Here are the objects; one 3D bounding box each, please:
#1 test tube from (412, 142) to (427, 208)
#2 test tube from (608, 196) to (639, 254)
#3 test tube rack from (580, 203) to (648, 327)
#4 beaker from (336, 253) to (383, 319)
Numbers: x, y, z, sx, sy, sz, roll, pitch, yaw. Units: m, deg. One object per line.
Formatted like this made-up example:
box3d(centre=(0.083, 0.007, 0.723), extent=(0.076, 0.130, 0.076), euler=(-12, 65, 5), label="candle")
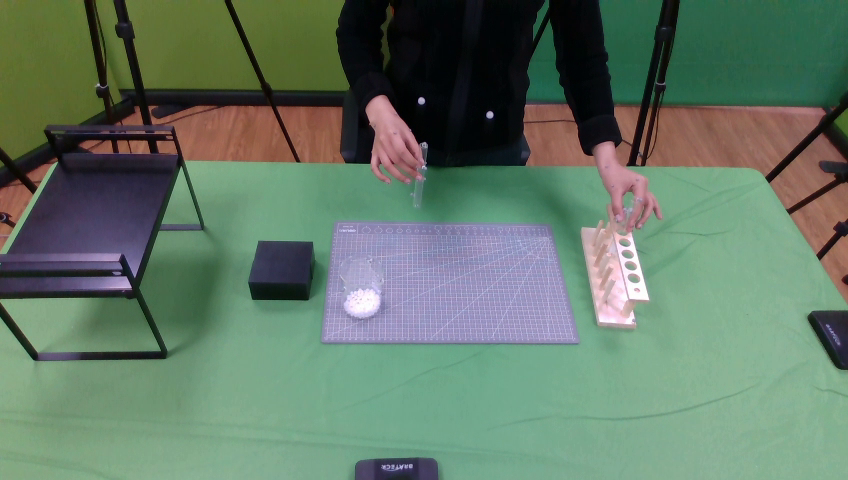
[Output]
box3d(centre=(-0.008, -0.117, 1.117), extent=(0.017, 0.151, 0.017), euler=(4, 45, -4), label="test tube")
box3d(centre=(0.371, -0.025, 1.134), extent=(0.017, 0.151, 0.017), euler=(2, 49, -3), label="test tube")
box3d(centre=(0.352, 0.041, 1.143), extent=(0.067, 0.085, 0.241), euler=(4, 46, -1), label="test tube rack")
box3d(centre=(-0.108, 0.084, 1.052), extent=(0.084, 0.101, 0.074), euler=(25, 50, 17), label="beaker")
